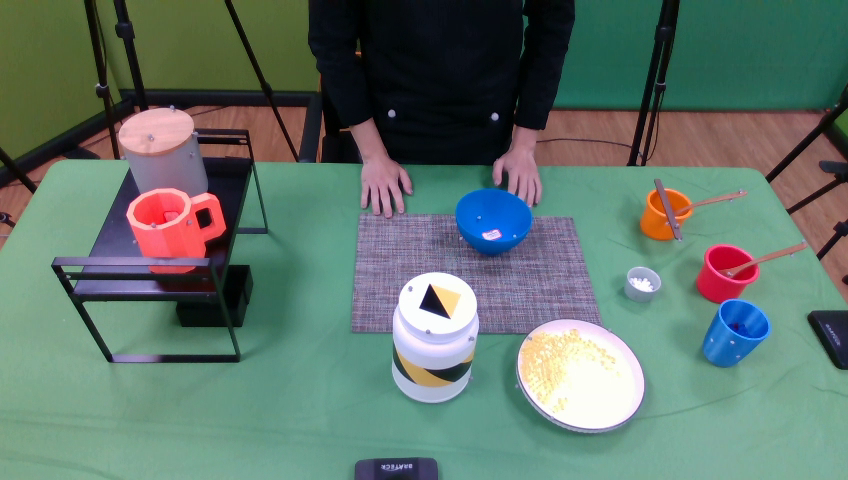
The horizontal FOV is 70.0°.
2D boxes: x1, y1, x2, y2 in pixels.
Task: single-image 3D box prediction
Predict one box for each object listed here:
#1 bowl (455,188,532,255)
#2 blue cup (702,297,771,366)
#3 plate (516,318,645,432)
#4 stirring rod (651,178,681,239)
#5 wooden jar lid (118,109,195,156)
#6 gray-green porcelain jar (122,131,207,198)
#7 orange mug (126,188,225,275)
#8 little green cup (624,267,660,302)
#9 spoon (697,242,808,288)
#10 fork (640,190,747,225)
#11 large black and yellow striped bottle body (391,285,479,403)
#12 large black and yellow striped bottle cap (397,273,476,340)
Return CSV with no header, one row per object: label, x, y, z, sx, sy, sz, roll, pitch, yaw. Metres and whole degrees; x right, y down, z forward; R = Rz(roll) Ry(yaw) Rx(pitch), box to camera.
bowl,0.131,-0.025,1.186,0.151,0.077,0.150,3,46,-2
blue cup,0.519,0.162,1.025,0.093,0.101,0.092,3,45,-3
plate,0.253,0.221,0.992,0.209,0.038,0.208,2,46,-2
stirring rod,0.479,-0.065,1.204,0.014,0.006,0.175,3,46,-4
wooden jar lid,-0.400,-0.159,0.910,0.108,0.021,0.107,2,47,-2
gray-green porcelain jar,-0.404,-0.115,0.955,0.106,0.127,0.105,3,46,-3
orange mug,-0.357,-0.020,0.885,0.126,0.101,0.083,-29,54,-23
little green cup,0.406,0.084,1.135,0.061,0.039,0.061,3,45,-3
spoon,0.601,0.045,1.116,0.194,0.022,0.041,-29,34,30
fork,0.533,-0.064,1.211,0.207,0.019,0.028,-22,28,39
large black and yellow striped bottle body,0.015,0.153,0.938,0.131,0.185,0.130,2,46,-2
large black and yellow striped bottle cap,0.018,0.094,0.878,0.115,0.019,0.114,3,46,-3
